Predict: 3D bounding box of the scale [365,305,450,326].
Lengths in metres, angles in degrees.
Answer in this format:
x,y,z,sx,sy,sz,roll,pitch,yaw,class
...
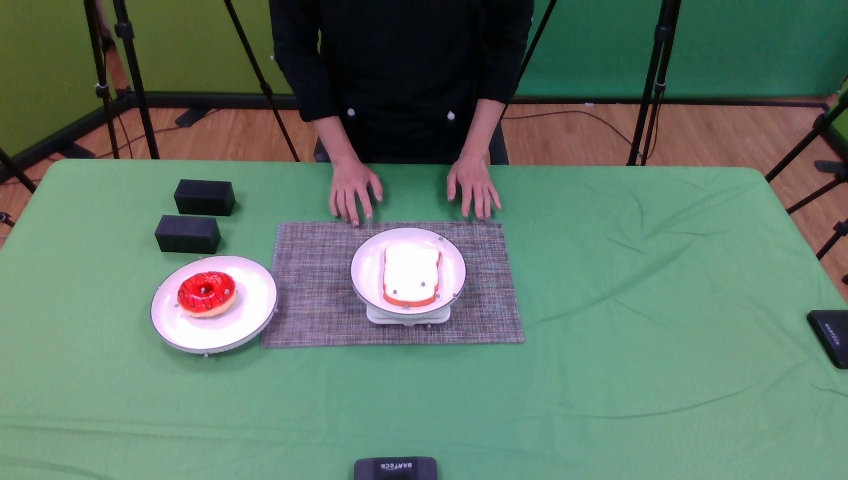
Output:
x,y,z,sx,sy,sz,roll,pitch,yaw,class
-0.032,0.071,1.113,0.149,0.032,0.199,0,46,-4,scale

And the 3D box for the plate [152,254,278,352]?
x,y,z,sx,sy,sz,roll,pitch,yaw,class
-0.357,0.111,1.052,0.208,0.039,0.206,2,46,-2,plate

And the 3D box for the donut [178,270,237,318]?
x,y,z,sx,sy,sz,roll,pitch,yaw,class
-0.375,0.092,1.053,0.099,0.048,0.098,1,42,0,donut

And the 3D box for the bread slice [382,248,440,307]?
x,y,z,sx,sy,sz,roll,pitch,yaw,class
-0.023,0.064,1.077,0.105,0.019,0.130,2,45,0,bread slice

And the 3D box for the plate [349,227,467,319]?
x,y,z,sx,sy,sz,roll,pitch,yaw,class
-0.029,0.061,1.077,0.209,0.038,0.208,2,46,-2,plate
